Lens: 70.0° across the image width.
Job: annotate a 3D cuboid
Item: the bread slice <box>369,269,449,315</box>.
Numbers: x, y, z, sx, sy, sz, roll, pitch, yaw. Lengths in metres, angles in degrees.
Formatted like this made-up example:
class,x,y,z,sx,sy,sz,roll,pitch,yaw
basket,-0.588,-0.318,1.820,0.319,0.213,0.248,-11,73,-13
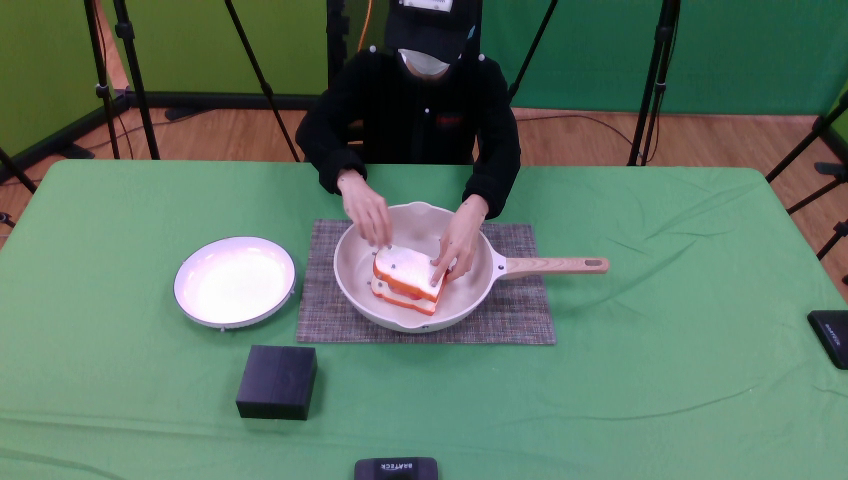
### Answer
class,x,y,z,sx,sy,sz,roll,pitch,yaw
bread slice,-0.031,0.082,1.108,0.134,0.018,0.106,12,45,7

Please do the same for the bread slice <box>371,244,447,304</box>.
class,x,y,z,sx,sy,sz,roll,pitch,yaw
bread slice,-0.028,0.054,1.073,0.131,0.019,0.104,22,36,-1

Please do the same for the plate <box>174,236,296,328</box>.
class,x,y,z,sx,sy,sz,roll,pitch,yaw
plate,-0.335,0.077,1.087,0.208,0.039,0.206,2,46,-2

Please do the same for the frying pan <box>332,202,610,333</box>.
class,x,y,z,sx,sy,sz,roll,pitch,yaw
frying pan,0.085,0.052,1.093,0.488,0.103,0.305,-1,46,6

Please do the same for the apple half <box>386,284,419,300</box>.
class,x,y,z,sx,sy,sz,roll,pitch,yaw
apple half,-0.027,0.069,1.092,0.081,0.033,0.081,4,47,-4
